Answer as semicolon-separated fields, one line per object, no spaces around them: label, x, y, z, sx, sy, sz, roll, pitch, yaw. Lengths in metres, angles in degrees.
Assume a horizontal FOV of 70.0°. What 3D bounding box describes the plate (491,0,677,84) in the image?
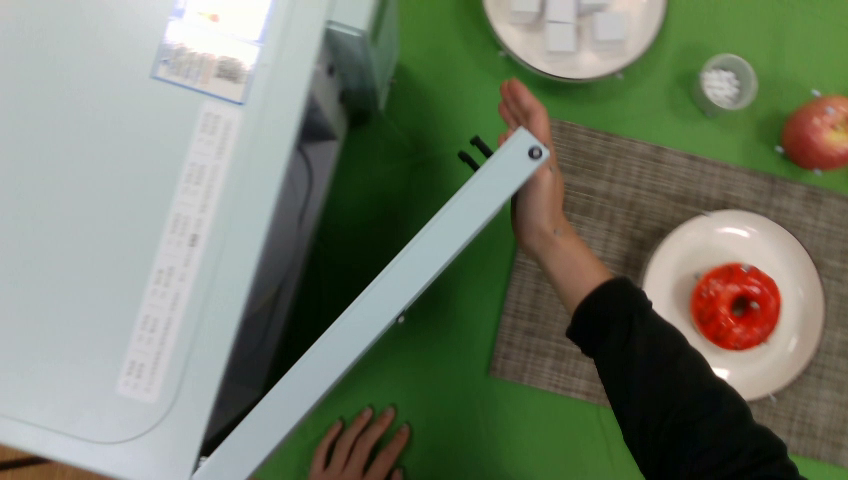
plate;0.177;-0.276;0.683;0.208;0.039;0.207;0;88;-2

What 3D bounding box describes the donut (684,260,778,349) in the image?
donut;0.336;0.071;0.665;0.099;0.048;0.099;0;89;0

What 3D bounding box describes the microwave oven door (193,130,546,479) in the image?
microwave oven door;-0.045;0.057;0.545;0.039;0.244;0.355;43;87;1

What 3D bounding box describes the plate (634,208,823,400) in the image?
plate;0.334;0.070;0.676;0.209;0.038;0.209;0;88;-2

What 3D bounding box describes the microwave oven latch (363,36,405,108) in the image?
microwave oven latch;-0.043;-0.185;0.653;0.030;0.029;0.079;19;88;-2

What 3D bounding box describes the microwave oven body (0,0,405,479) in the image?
microwave oven body;-0.235;-0.066;0.545;0.326;0.260;0.441;18;88;-2

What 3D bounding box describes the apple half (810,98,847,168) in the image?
apple half;0.468;-0.120;0.673;0.033;0.081;0.081;-12;88;2

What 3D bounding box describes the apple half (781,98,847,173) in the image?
apple half;0.430;-0.112;0.672;0.053;0.074;0.081;-12;92;2

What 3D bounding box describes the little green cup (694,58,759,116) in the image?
little green cup;0.340;-0.171;0.687;0.061;0.038;0.061;0;88;-2
